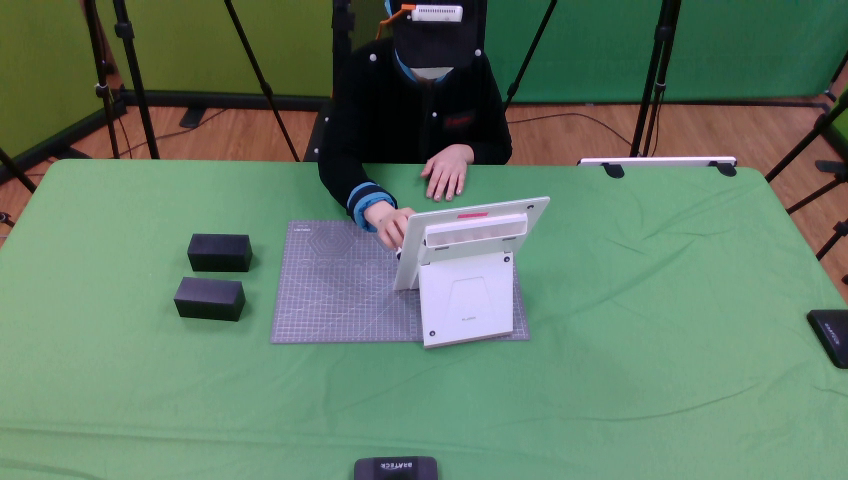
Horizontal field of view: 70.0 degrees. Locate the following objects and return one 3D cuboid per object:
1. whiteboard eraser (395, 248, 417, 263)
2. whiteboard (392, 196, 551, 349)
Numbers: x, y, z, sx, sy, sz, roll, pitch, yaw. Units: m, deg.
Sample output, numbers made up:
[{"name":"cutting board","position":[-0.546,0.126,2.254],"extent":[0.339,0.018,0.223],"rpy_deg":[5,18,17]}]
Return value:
[{"name":"whiteboard eraser","position":[-0.002,0.009,0.979],"extent":[0.101,0.041,0.018],"rpy_deg":[-27,65,22]},{"name":"whiteboard","position":[0.077,0.071,0.977],"extent":[0.217,0.306,0.143],"rpy_deg":[-7,67,-11]}]
